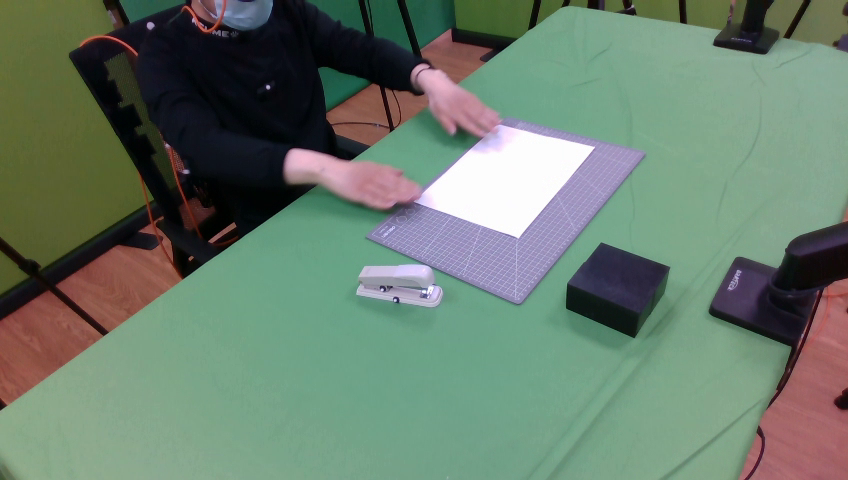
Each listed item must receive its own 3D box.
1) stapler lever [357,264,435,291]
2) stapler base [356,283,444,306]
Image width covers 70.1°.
[{"bbox_3d":[-0.041,0.050,0.879,0.117,0.040,0.027,7,40,17],"label":"stapler lever"},{"bbox_3d":[-0.037,0.069,0.895,0.130,0.024,0.041,6,40,17],"label":"stapler base"}]
